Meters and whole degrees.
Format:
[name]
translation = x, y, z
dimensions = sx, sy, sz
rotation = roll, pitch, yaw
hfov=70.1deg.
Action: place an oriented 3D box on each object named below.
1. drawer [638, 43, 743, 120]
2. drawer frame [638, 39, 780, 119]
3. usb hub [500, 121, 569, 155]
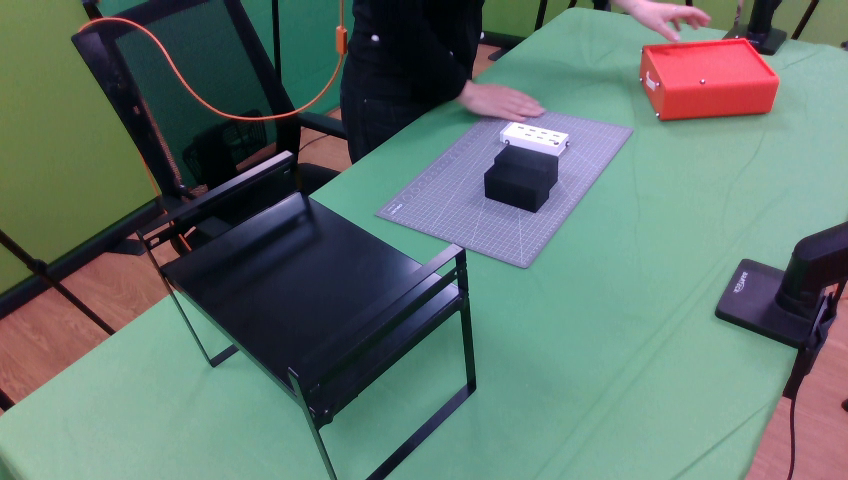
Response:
[drawer]
translation = 0.562, -0.327, 1.229
dimensions = 0.212, 0.073, 0.193
rotation = -2, 41, 5
[drawer frame]
translation = 0.564, -0.329, 1.227
dimensions = 0.213, 0.083, 0.200
rotation = -2, 40, 5
[usb hub]
translation = 0.212, -0.198, 1.167
dimensions = 0.124, 0.025, 0.049
rotation = 20, 48, 28
